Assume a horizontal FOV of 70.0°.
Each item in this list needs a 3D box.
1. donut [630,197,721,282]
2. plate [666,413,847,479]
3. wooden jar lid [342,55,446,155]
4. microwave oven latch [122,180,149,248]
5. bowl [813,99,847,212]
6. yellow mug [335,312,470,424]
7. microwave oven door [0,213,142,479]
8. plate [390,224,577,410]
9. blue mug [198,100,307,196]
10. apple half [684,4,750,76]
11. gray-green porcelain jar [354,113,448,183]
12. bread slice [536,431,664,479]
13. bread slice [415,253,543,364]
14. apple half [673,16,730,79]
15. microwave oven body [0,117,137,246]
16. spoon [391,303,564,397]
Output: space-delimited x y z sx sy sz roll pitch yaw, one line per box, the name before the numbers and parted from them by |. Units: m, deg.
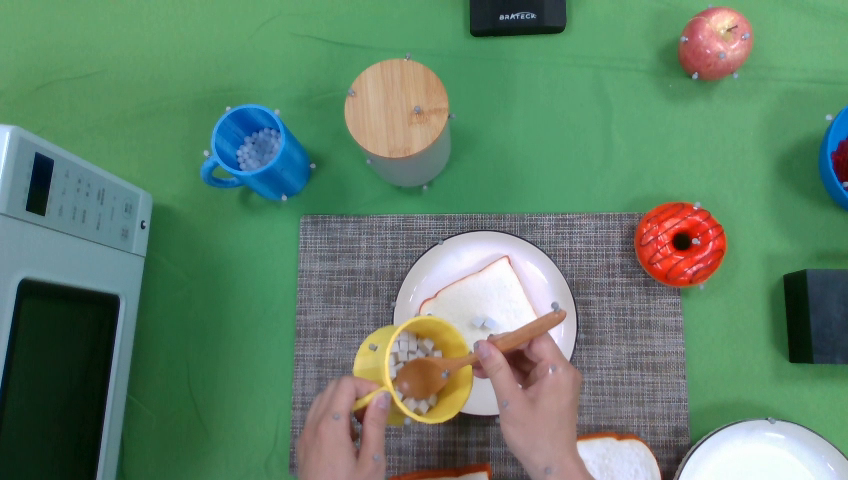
donut | 0.283 -0.001 0.686 0.099 0.048 0.098 -1 82 4
plate | 0.356 0.288 0.641 0.209 0.038 0.208 -1 81 4
wooden jar lid | -0.031 -0.138 0.629 0.108 0.021 0.108 -1 79 4
microwave oven latch | -0.350 -0.031 0.722 0.030 0.029 0.079 5 82 4
bowl | 0.499 -0.086 0.672 0.151 0.077 0.151 -1 81 4
yellow mug | -0.026 0.129 0.577 0.131 0.064 0.100 -20 85 -37
microwave oven door | -0.375 0.167 0.588 0.039 0.245 0.354 3 80 5
plate | 0.066 0.086 0.690 0.207 0.039 0.207 -1 81 4
blue mug | -0.205 -0.097 0.708 0.116 0.106 0.082 -25 79 0
apple half | 0.346 -0.237 0.710 0.053 0.075 0.080 -32 76 -7
gray-green porcelain jar | -0.026 -0.126 0.690 0.106 0.127 0.105 -1 80 4
bread slice | 0.189 0.257 0.631 0.135 0.018 0.106 -5 77 -17
bread slice | 0.057 0.088 0.692 0.131 0.019 0.104 -26 80 -1
apple half | 0.314 -0.216 0.707 0.033 0.081 0.081 -32 79 -7
microwave oven body | -0.517 0.118 0.611 0.326 0.261 0.440 3 81 4
spoon | 0.044 0.101 0.544 0.193 0.021 0.042 -31 97 34
